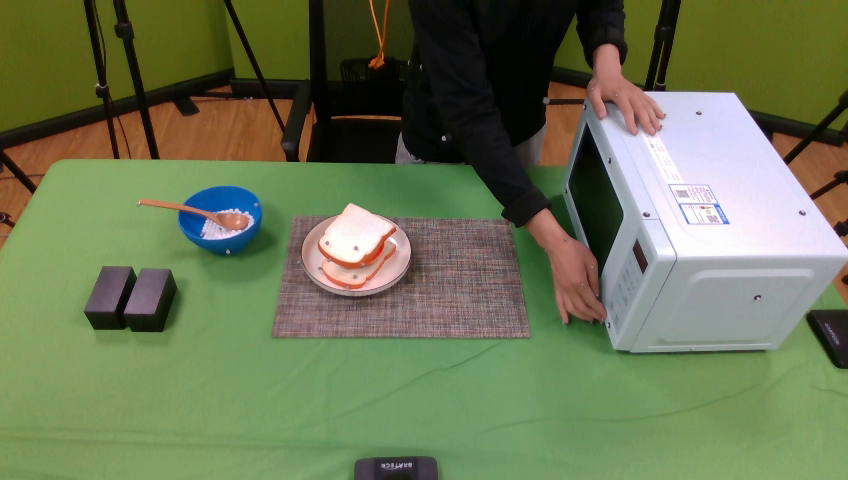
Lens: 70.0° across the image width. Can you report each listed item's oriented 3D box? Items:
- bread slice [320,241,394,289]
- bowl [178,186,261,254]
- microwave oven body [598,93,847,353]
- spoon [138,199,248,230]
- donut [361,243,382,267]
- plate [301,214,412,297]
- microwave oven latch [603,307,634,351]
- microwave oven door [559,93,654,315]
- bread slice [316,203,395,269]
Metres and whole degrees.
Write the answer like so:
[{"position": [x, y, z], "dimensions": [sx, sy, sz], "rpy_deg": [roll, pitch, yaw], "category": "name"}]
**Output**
[{"position": [-0.129, 0.036, 1.141], "dimensions": [0.107, 0.018, 0.134], "rpy_deg": [19, 47, 13], "category": "bread slice"}, {"position": [-0.383, -0.026, 1.158], "dimensions": [0.151, 0.077, 0.150], "rpy_deg": [2, 46, -2], "category": "bowl"}, {"position": [0.476, -0.041, 1.110], "dimensions": [0.326, 0.261, 0.438], "rpy_deg": [-1, 45, -4], "category": "microwave oven body"}, {"position": [-0.431, -0.053, 1.135], "dimensions": [0.194, 0.022, 0.041], "rpy_deg": [15, 47, -20], "category": "spoon"}, {"position": [-0.126, 0.011, 1.127], "dimensions": [0.099, 0.048, 0.098], "rpy_deg": [4, 44, -3], "category": "donut"}, {"position": [-0.126, 0.031, 1.145], "dimensions": [0.208, 0.039, 0.206], "rpy_deg": [2, 46, -2], "category": "plate"}, {"position": [0.333, 0.153, 1.044], "dimensions": [0.030, 0.029, 0.078], "rpy_deg": [0, 45, -4], "category": "microwave oven latch"}, {"position": [0.327, -0.074, 1.123], "dimensions": [0.039, 0.245, 0.353], "rpy_deg": [-1, 46, -5], "category": "microwave oven door"}, {"position": [-0.128, -0.005, 1.100], "dimensions": [0.104, 0.019, 0.131], "rpy_deg": [27, 52, 13], "category": "bread slice"}]
